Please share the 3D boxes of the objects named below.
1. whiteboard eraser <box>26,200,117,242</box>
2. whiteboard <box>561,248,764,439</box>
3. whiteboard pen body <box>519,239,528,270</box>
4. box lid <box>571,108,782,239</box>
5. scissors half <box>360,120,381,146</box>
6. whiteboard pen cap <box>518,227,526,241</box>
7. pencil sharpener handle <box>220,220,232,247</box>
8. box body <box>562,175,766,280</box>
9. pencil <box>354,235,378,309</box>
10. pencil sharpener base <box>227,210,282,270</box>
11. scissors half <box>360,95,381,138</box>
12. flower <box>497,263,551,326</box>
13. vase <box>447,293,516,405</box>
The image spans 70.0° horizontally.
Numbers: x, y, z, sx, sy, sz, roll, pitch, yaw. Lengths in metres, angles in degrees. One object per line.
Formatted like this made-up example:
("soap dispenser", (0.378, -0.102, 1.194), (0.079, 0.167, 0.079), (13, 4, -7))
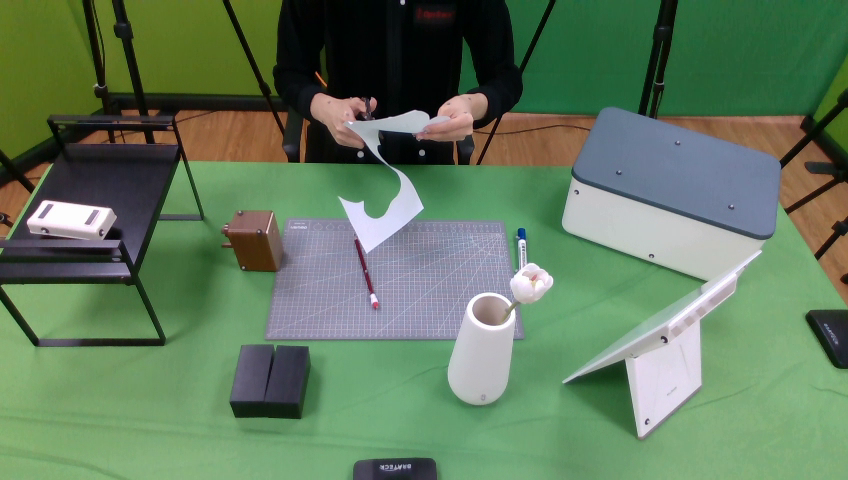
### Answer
("whiteboard eraser", (-0.532, -0.026, 0.919), (0.113, 0.042, 0.055), (7, 45, 3))
("whiteboard", (0.386, 0.176, 0.905), (0.217, 0.306, 0.143), (-26, 72, -27))
("whiteboard pen body", (0.193, 0.035, 1.181), (0.017, 0.017, 0.140), (6, 48, 1))
("box lid", (0.491, -0.139, 1.168), (0.370, 0.015, 0.262), (20, 49, 15))
("scissors half", (-0.092, -0.187, 1.043), (0.013, 0.040, 0.175), (-2, 3, -15))
("whiteboard pen cap", (0.197, -0.009, 1.220), (0.018, 0.018, 0.033), (5, 51, 1))
("pencil sharpener handle", (-0.362, -0.009, 1.105), (0.030, 0.068, 0.036), (1, 52, 1))
("box body", (0.486, -0.088, 1.222), (0.363, 0.161, 0.253), (20, 48, 15))
("pencil", (-0.112, 0.055, 1.143), (0.012, 0.012, 0.192), (-10, 46, -13))
("pencil sharpener base", (-0.311, 0.001, 1.112), (0.077, 0.107, 0.061), (1, 47, 1))
("scissors half", (-0.091, -0.209, 1.036), (0.013, 0.040, 0.174), (-7, 34, -13))
("flower", (0.102, 0.121, 0.853), (0.044, 0.363, 0.038), (-2, 64, -10))
("vase", (0.091, 0.169, 0.921), (0.098, 0.201, 0.097), (3, 47, -3))
